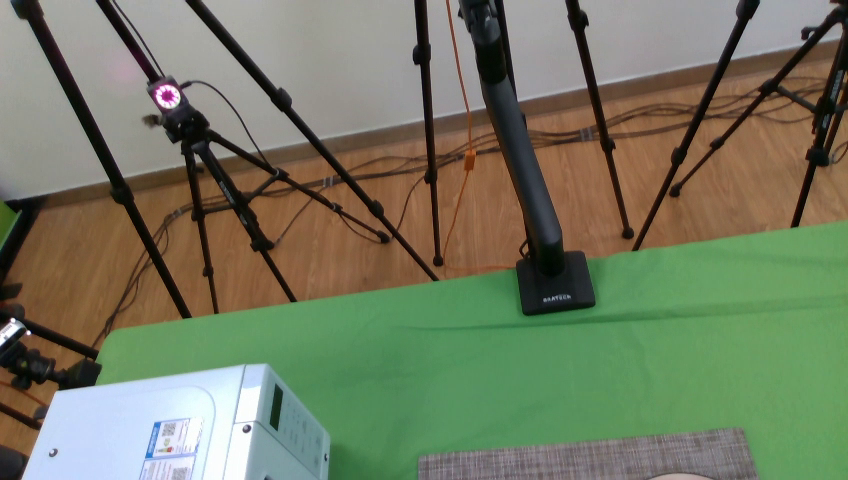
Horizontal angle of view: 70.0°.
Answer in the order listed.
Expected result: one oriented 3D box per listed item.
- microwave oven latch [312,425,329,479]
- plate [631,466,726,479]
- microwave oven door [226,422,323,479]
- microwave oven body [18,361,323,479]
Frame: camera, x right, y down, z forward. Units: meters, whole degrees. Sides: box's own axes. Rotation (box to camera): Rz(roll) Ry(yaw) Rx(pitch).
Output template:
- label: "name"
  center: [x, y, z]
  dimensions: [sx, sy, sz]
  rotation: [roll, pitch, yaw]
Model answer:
- label: "microwave oven latch"
  center: [-0.158, 0.314, 0.895]
  dimensions: [0.030, 0.030, 0.078]
  rotation: [-9, 50, 8]
- label: "plate"
  center: [0.315, 0.379, 0.720]
  dimensions: [0.207, 0.039, 0.205]
  rotation: [-8, 50, 10]
- label: "microwave oven door"
  center: [-0.176, 0.418, 0.679]
  dimensions: [0.039, 0.246, 0.352]
  rotation: [-10, 50, 9]
- label: "microwave oven body"
  center: [-0.319, 0.414, 0.731]
  dimensions: [0.326, 0.263, 0.437]
  rotation: [-10, 50, 8]
